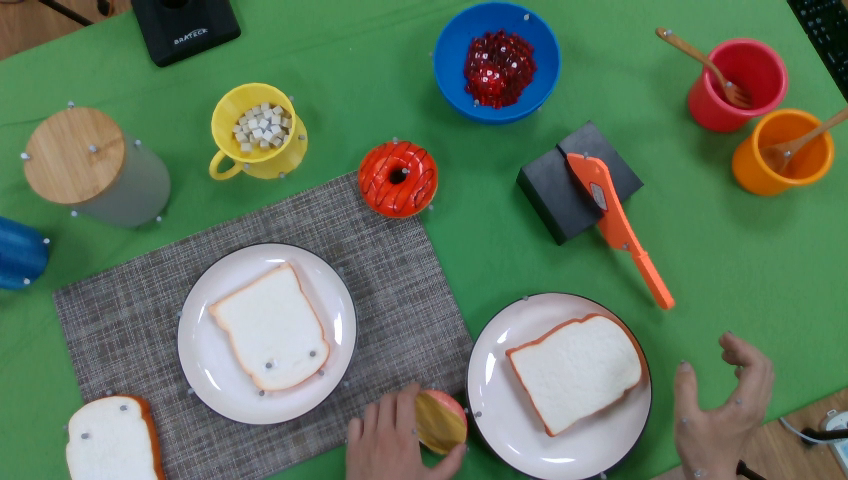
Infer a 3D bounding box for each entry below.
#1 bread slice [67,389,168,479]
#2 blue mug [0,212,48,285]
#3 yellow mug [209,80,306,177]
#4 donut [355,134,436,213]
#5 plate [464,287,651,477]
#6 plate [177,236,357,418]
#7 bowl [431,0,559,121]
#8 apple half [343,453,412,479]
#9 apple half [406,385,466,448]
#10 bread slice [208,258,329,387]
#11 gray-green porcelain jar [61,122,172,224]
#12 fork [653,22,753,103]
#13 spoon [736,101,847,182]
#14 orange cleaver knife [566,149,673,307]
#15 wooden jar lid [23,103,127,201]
[{"bbox_3d":[-0.357,0.240,0.696,0.105,0.019,0.131,-15,81,-2],"label":"bread slice"},{"bbox_3d":[-0.520,0.017,0.700,0.082,0.106,0.116,41,83,9],"label":"blue mug"},{"bbox_3d":[-0.212,-0.125,0.741,0.099,0.064,0.131,43,84,9],"label":"yellow mug"},{"bbox_3d":[-0.034,-0.080,0.735,0.099,0.048,0.098,0,80,1],"label":"donut"},{"bbox_3d":[0.149,0.159,0.693,0.209,0.038,0.208,0,79,2],"label":"plate"},{"bbox_3d":[-0.179,0.099,0.708,0.207,0.039,0.206,0,79,1],"label":"plate"},{"bbox_3d":[0.084,-0.207,0.743,0.151,0.077,0.151,0,80,2],"label":"bowl"},{"bbox_3d":[-0.056,0.277,0.668,0.074,0.053,0.080,31,82,9],"label":"apple half"},{"bbox_3d":[0.017,0.195,0.687,0.081,0.081,0.033,42,41,9],"label":"apple half"},{"bbox_3d":[-0.172,0.101,0.709,0.107,0.018,0.133,-34,79,-4],"label":"bread slice"},{"bbox_3d":[-0.365,-0.079,0.705,0.106,0.127,0.105,0,79,1],"label":"gray-green porcelain jar"},{"bbox_3d":[0.327,-0.203,0.701,0.209,0.018,0.028,17,75,-37],"label":"fork"},{"bbox_3d":[0.446,-0.129,0.684,0.022,0.194,0.041,-17,72,-48],"label":"spoon"},{"bbox_3d":[0.224,-0.015,0.702,0.012,0.077,0.212,-34,102,-12],"label":"orange cleaver knife"},{"bbox_3d":[-0.367,-0.092,0.644,0.108,0.021,0.108,0,78,3],"label":"wooden jar lid"}]
